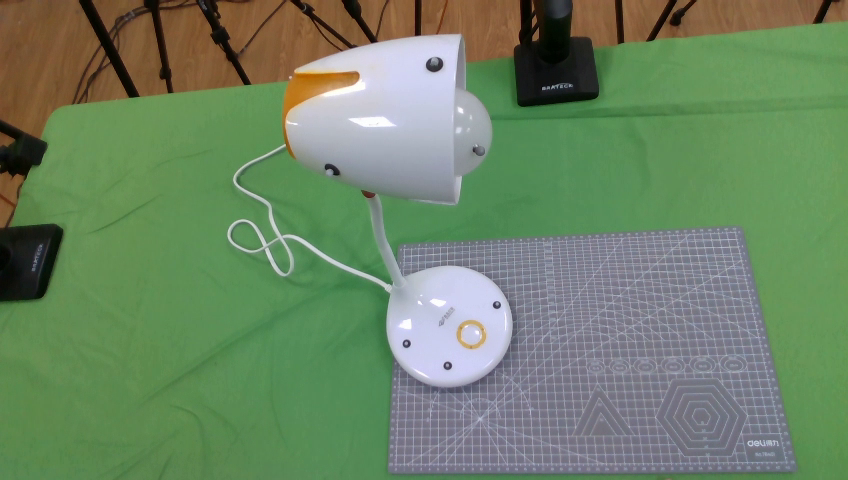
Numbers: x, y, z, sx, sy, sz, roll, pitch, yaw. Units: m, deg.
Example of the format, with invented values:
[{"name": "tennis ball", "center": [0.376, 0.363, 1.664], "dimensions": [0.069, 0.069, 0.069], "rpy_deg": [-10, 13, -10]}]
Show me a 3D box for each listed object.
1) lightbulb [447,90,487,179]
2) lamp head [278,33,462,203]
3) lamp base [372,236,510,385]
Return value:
[{"name": "lightbulb", "center": [-0.011, -0.069, 0.406], "dimensions": [0.107, 0.060, 0.059], "rpy_deg": [-1, 64, 10]}, {"name": "lamp head", "center": [-0.033, -0.080, 0.413], "dimensions": [0.122, 0.113, 0.111], "rpy_deg": [0, 64, 11]}, {"name": "lamp base", "center": [0.005, 0.065, 0.702], "dimensions": [0.178, 0.182, 0.160], "rpy_deg": [21, 69, 22]}]
